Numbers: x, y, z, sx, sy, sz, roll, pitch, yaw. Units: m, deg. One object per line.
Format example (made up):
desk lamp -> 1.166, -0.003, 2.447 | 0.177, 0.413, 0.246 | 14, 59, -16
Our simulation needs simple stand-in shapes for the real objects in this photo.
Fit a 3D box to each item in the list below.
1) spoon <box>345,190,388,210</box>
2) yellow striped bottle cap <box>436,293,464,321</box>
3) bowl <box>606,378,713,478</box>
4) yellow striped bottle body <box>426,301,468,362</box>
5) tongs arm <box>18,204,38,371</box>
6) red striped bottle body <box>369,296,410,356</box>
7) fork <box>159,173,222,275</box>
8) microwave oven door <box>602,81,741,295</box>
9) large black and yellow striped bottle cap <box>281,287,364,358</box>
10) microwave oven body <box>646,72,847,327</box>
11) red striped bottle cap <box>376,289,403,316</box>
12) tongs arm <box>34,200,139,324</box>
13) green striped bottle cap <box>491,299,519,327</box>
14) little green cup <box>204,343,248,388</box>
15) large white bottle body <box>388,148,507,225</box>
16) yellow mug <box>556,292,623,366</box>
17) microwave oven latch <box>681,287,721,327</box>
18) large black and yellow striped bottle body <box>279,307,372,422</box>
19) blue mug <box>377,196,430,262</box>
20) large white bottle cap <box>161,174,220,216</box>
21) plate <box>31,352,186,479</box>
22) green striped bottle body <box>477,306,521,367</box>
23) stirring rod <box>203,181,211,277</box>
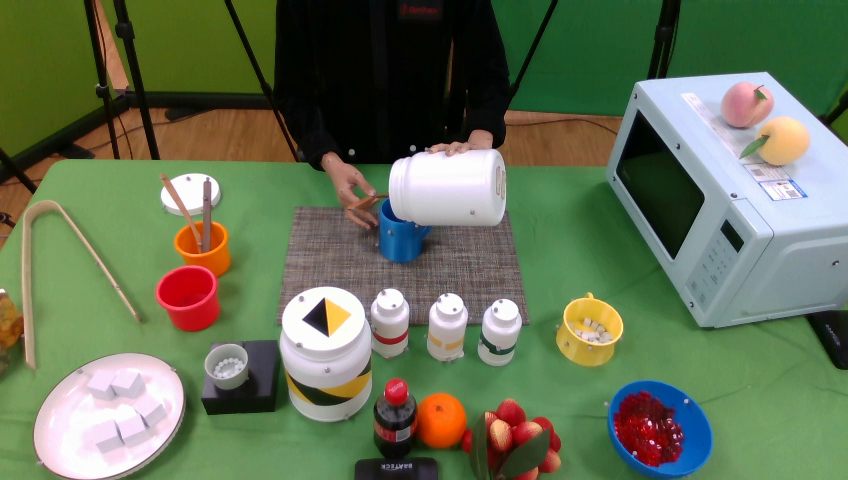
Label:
spoon -> -0.091, -0.083, 1.160 | 0.041, 0.022, 0.194 | 17, 20, 27
yellow striped bottle cap -> 0.041, 0.106, 0.959 | 0.044, 0.019, 0.044 | -1, 50, 1
bowl -> 0.340, 0.292, 0.906 | 0.151, 0.077, 0.150 | 2, 46, -2
yellow striped bottle body -> 0.037, 0.142, 0.996 | 0.063, 0.121, 0.062 | 3, 46, -3
tongs arm -> -0.698, 0.070, 1.069 | 0.028, 0.028, 0.385 | -21, 51, -13
red striped bottle body -> -0.059, 0.135, 0.997 | 0.063, 0.120, 0.062 | 6, 49, -7
fork -> -0.427, -0.029, 1.103 | 0.028, 0.018, 0.207 | -31, 99, -32
microwave oven door -> 0.456, -0.107, 1.162 | 0.039, 0.245, 0.353 | -7, 47, -11
large black and yellow striped bottle cap -> -0.141, 0.112, 0.847 | 0.115, 0.019, 0.114 | 5, 45, -4
microwave oven body -> 0.607, -0.089, 1.164 | 0.326, 0.261, 0.438 | -7, 46, -10
red striped bottle cap -> -0.054, 0.098, 0.958 | 0.044, 0.018, 0.044 | 0, 48, 1
tongs arm -> -0.622, 0.034, 1.105 | 0.051, 0.026, 0.382 | -32, 56, -25
green striped bottle cap -> 0.128, 0.115, 0.958 | 0.044, 0.020, 0.044 | 1, 47, -1
little green cup -> -0.294, 0.190, 0.909 | 0.061, 0.039, 0.061 | 1, 48, 0
large white bottle body -> 0.041, -0.091, 1.054 | 0.184, 0.131, 0.130 | 1, 43, 20
yellow mug -> 0.285, 0.145, 1.051 | 0.100, 0.064, 0.130 | 7, 45, 3
microwave oven latch -> 0.494, 0.119, 1.087 | 0.030, 0.029, 0.078 | -6, 46, -9
large black and yellow striped bottle body -> -0.145, 0.173, 0.907 | 0.131, 0.185, 0.130 | 2, 46, -2
blue mug -> -0.033, -0.028, 1.159 | 0.116, 0.106, 0.082 | -22, 52, -23
large white bottle cap -> -0.483, -0.095, 1.253 | 0.115, 0.018, 0.114 | 2, 46, -2
plate -> -0.459, 0.262, 0.898 | 0.209, 0.038, 0.208 | 2, 46, -2
green striped bottle body -> 0.124, 0.151, 0.995 | 0.063, 0.120, 0.063 | 2, 46, -2
stirring rod -> -0.396, -0.021, 1.107 | 0.014, 0.006, 0.176 | -1, 89, -1
